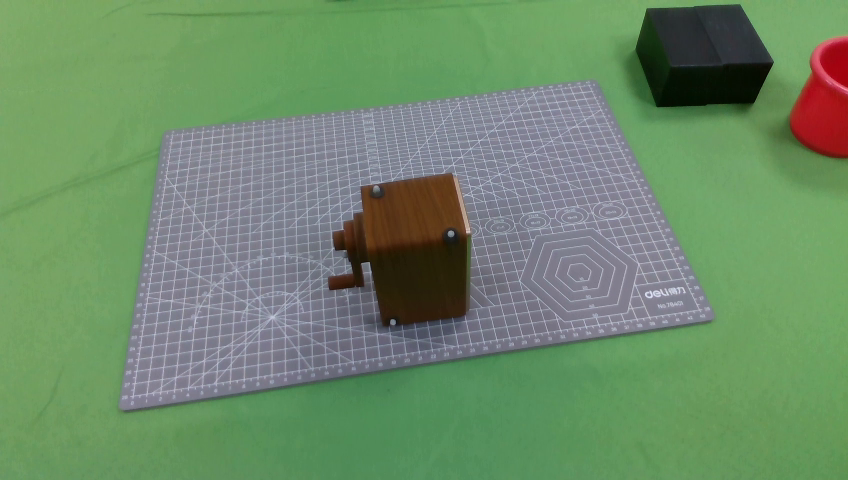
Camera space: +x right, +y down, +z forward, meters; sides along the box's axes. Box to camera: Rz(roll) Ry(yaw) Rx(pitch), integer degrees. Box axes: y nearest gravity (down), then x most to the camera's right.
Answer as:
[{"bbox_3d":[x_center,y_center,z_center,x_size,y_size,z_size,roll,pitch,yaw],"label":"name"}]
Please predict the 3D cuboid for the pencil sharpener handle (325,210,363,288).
[{"bbox_3d":[-0.060,0.010,0.432,0.031,0.068,0.035,-8,47,-3],"label":"pencil sharpener handle"}]

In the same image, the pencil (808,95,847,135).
[{"bbox_3d":[0.425,-0.167,0.541,0.194,0.012,0.012,-48,55,18],"label":"pencil"}]

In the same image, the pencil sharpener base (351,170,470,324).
[{"bbox_3d":[-0.009,0.009,0.446,0.077,0.108,0.060,-8,53,-3],"label":"pencil sharpener base"}]
